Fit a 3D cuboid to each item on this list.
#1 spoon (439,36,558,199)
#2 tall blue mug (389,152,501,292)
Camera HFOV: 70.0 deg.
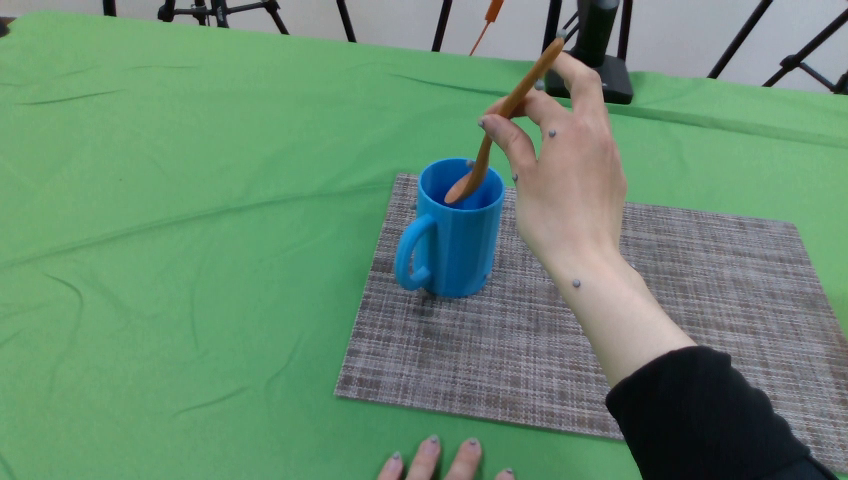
[{"bbox_3d":[0.049,-0.082,0.450,0.021,0.194,0.041,33,61,2],"label":"spoon"},{"bbox_3d":[0.020,-0.005,0.546,0.077,0.109,0.106,14,45,8],"label":"tall blue mug"}]
